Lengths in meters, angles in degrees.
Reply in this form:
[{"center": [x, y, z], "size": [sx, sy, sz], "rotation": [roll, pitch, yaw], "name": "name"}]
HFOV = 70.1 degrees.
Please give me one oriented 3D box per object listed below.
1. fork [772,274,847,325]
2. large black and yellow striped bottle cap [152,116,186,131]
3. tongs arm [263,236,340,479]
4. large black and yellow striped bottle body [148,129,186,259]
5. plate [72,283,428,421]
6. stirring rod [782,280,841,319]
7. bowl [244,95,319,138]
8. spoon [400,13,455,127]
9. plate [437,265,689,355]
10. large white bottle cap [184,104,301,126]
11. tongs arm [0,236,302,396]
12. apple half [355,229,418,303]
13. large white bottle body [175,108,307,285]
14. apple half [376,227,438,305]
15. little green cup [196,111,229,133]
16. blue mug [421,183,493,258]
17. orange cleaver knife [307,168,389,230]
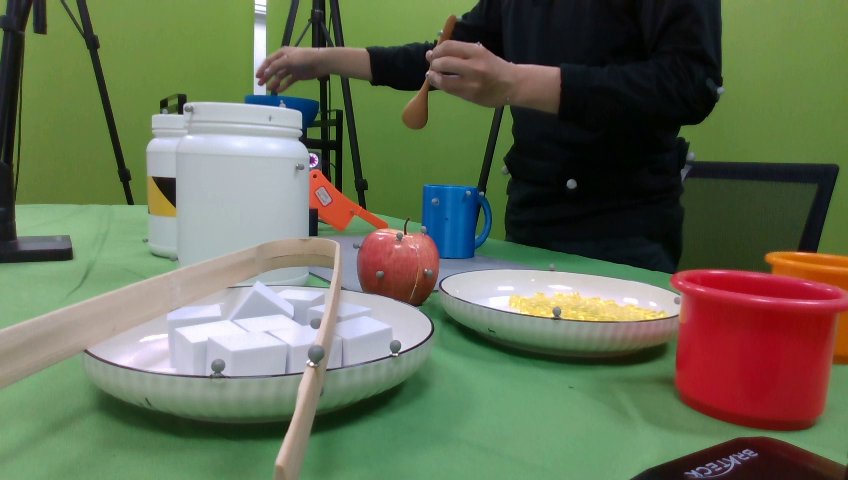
[{"center": [0.332, 0.018, 0.443], "size": [0.028, 0.018, 0.207], "rotation": [-1, -36, -15], "name": "fork"}, {"center": [-0.309, -0.155, 0.826], "size": [0.115, 0.019, 0.115], "rotation": [3, 6, 0], "name": "large black and yellow striped bottle cap"}, {"center": [-0.074, 0.039, 0.349], "size": [0.051, 0.026, 0.384], "rotation": [-2, 10, -3], "name": "tongs arm"}, {"center": [-0.310, -0.073, 0.838], "size": [0.131, 0.184, 0.130], "rotation": [2, 8, 0], "name": "large black and yellow striped bottle body"}, {"center": [-0.102, 0.066, 0.381], "size": [0.208, 0.039, 0.207], "rotation": [2, 7, 0], "name": "plate"}, {"center": [0.344, 0.019, 0.461], "size": [0.014, 0.006, 0.176], "rotation": [-13, -27, -30], "name": "stirring rod"}, {"center": [-0.293, -0.251, 1.249], "size": [0.151, 0.077, 0.151], "rotation": [2, 8, 0], "name": "bowl"}, {"center": [0.006, -0.238, 0.867], "size": [0.041, 0.193, 0.021], "rotation": [22, 41, -2], "name": "spoon"}, {"center": [0.114, 0.057, 0.517], "size": [0.209, 0.038, 0.209], "rotation": [3, 8, 0], "name": "plate"}, {"center": [-0.184, -0.126, 0.618], "size": [0.115, 0.018, 0.115], "rotation": [2, 8, 0], "name": "large white bottle cap"}, {"center": [-0.158, 0.039, 0.351], "size": [0.028, 0.028, 0.388], "rotation": [-3, 8, 11], "name": "tongs arm"}, {"center": [-0.043, 0.027, 0.564], "size": [0.081, 0.081, 0.033], "rotation": [9, 5, 43], "name": "apple half"}, {"center": [-0.188, -0.042, 0.630], "size": [0.131, 0.184, 0.130], "rotation": [2, 8, 0], "name": "large white bottle body"}, {"center": [-0.017, 0.025, 0.593], "size": [0.080, 0.074, 0.053], "rotation": [4, 2, 43], "name": "apple half"}, {"center": [-0.403, -0.225, 1.154], "size": [0.061, 0.038, 0.061], "rotation": [3, 8, 0], "name": "little green cup"}, {"center": [0.052, -0.032, 0.912], "size": [0.117, 0.106, 0.082], "rotation": [-1, 8, -24], "name": "blue mug"}, {"center": [-0.158, -0.060, 1.166], "size": [0.212, 0.077, 0.012], "rotation": [34, -12, -32], "name": "orange cleaver knife"}]
